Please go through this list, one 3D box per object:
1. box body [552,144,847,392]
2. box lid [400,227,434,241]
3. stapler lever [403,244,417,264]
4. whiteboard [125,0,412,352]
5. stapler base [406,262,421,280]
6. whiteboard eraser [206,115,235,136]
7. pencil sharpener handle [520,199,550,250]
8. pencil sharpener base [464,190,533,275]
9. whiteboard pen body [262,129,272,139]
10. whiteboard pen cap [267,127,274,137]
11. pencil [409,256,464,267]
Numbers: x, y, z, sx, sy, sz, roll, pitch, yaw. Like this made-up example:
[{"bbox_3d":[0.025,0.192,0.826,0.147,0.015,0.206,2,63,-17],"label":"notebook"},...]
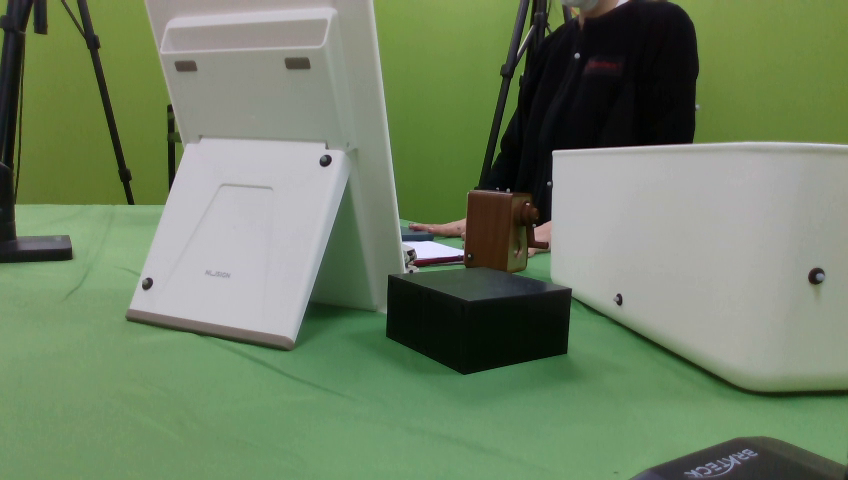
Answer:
[{"bbox_3d":[0.290,0.002,0.549,0.255,0.160,0.363,2,7,-10],"label":"box body"},{"bbox_3d":[-0.196,-0.015,1.105,0.373,0.015,0.262,-1,7,-32],"label":"box lid"},{"bbox_3d":[-0.066,0.003,0.755,0.117,0.040,0.027,9,13,23],"label":"stapler lever"},{"bbox_3d":[-0.151,-0.050,0.471,0.216,0.305,0.144,6,27,24],"label":"whiteboard"},{"bbox_3d":[-0.069,0.027,0.759,0.130,0.024,0.041,9,13,23],"label":"stapler base"},{"bbox_3d":[-0.444,-0.250,1.322,0.056,0.042,0.112,-2,8,-15],"label":"whiteboard eraser"},{"bbox_3d":[0.147,-0.019,0.785,0.030,0.068,0.036,8,26,36],"label":"pencil sharpener handle"},{"bbox_3d":[0.102,-0.012,0.813,0.076,0.107,0.061,8,9,36],"label":"pencil sharpener base"},{"bbox_3d":[-0.361,-0.245,1.393,0.017,0.017,0.140,0,5,-20],"label":"whiteboard pen body"},{"bbox_3d":[-0.340,-0.239,1.338,0.018,0.018,0.033,1,-1,-15],"label":"whiteboard pen cap"},{"bbox_3d":[0.041,0.028,0.850,0.012,0.012,0.195,10,10,44],"label":"pencil"}]
